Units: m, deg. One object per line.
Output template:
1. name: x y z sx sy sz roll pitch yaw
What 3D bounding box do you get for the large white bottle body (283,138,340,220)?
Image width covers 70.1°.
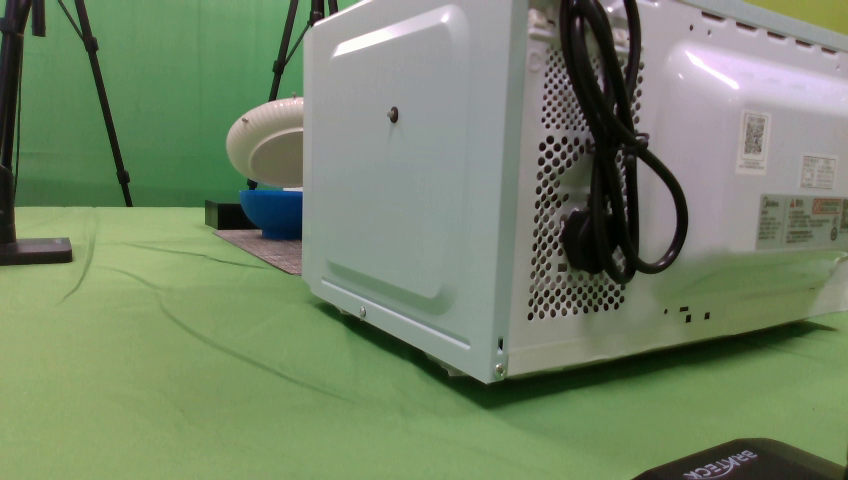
1. large white bottle body: -0.265 -0.144 1.424 0.131 0.184 0.130 2 7 0

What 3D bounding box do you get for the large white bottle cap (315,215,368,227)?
1. large white bottle cap: -0.178 -0.041 1.309 0.115 0.018 0.115 2 6 0

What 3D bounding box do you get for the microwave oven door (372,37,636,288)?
1. microwave oven door: 0.110 -0.080 0.686 0.358 0.243 0.039 -2 9 -33

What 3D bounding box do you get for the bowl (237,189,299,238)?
1. bowl: -0.245 -0.046 1.052 0.151 0.077 0.151 3 8 0

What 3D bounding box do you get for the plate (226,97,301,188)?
1. plate: -0.193 -0.137 0.928 0.209 0.038 0.209 -14 -25 -6

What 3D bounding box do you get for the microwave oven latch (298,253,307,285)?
1. microwave oven latch: -0.081 0.027 0.582 0.079 0.029 0.030 -1 7 -32

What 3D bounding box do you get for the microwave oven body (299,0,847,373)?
1. microwave oven body: 0.151 -0.055 0.542 0.444 0.260 0.324 -2 7 -33

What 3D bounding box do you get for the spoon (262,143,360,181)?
1. spoon: -0.195 -0.144 1.070 0.194 0.041 0.021 -22 -16 -28
